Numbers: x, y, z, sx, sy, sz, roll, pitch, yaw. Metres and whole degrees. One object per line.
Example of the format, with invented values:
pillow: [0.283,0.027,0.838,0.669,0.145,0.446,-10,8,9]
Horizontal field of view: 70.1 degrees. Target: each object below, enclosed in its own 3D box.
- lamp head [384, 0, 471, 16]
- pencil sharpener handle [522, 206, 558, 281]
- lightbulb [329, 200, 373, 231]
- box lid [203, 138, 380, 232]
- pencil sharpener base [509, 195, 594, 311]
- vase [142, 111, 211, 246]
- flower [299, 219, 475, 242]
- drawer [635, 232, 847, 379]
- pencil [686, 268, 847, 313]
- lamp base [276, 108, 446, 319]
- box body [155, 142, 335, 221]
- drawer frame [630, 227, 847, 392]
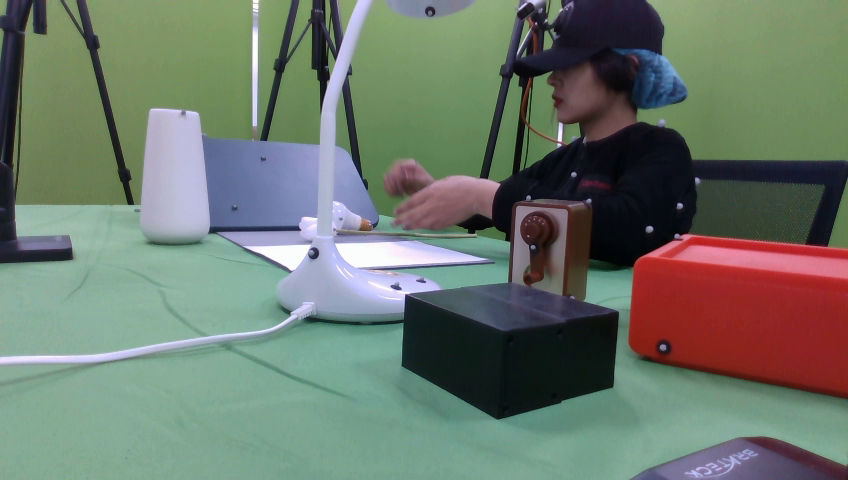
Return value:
lamp head: [-0.001,-0.301,0.599,0.112,0.112,0.123,4,-30,14]
pencil sharpener handle: [0.102,0.003,0.555,0.036,0.067,0.031,0,5,31]
lightbulb: [-0.143,-0.036,1.109,0.108,0.059,0.059,15,0,-28]
box lid: [-0.286,-0.112,1.202,0.373,0.015,0.262,-2,46,-30]
pencil sharpener base: [0.126,0.011,0.601,0.061,0.107,0.077,7,9,30]
vase: [-0.378,-0.093,0.920,0.098,0.200,0.098,2,9,0]
flower: [-0.049,-0.011,1.081,0.364,0.038,0.044,2,36,-36]
drawer: [0.292,0.045,0.488,0.193,0.073,0.213,7,9,30]
pencil: [0.308,0.045,0.515,0.194,0.012,0.012,13,5,-12]
lamp base: [-0.061,-0.027,0.556,0.160,0.180,0.180,4,10,20]
box body: [-0.410,-0.135,1.386,0.366,0.160,0.253,-2,9,-29]
drawer frame: [0.292,0.043,0.484,0.201,0.082,0.214,7,9,29]
